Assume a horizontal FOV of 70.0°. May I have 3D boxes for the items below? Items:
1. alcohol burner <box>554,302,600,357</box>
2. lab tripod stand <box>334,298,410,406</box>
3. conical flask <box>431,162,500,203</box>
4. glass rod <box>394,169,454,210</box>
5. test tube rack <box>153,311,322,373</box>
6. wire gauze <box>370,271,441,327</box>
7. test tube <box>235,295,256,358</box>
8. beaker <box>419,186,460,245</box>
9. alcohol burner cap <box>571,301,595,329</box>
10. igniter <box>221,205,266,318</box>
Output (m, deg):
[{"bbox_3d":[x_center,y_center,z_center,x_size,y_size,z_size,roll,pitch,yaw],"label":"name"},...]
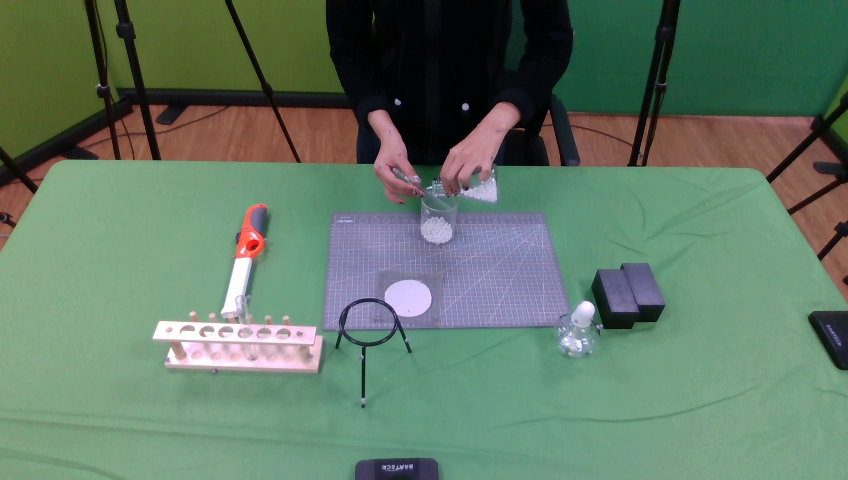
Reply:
[{"bbox_3d":[0.260,0.143,1.018,0.078,0.119,0.077,3,45,-3],"label":"alcohol burner"},{"bbox_3d":[-0.085,0.164,0.957,0.148,0.132,0.147,3,44,-2],"label":"lab tripod stand"},{"bbox_3d":[0.076,-0.101,1.113,0.122,0.076,0.075,-3,45,11],"label":"conical flask"},{"bbox_3d":[0.004,-0.090,1.118,0.008,0.201,0.008,-13,66,30],"label":"glass rod"},{"bbox_3d":[-0.293,0.160,0.978,0.242,0.085,0.066,3,46,-2],"label":"test tube rack"},{"bbox_3d":[-0.032,0.103,1.104,0.125,0.011,0.121,4,46,3],"label":"wire gauze"},{"bbox_3d":[-0.274,0.136,0.933,0.017,0.151,0.017,4,46,-4],"label":"test tube"},{"bbox_3d":[0.025,-0.047,1.190,0.074,0.101,0.083,-29,54,-29],"label":"beaker"},{"bbox_3d":[0.262,0.120,0.991,0.034,0.048,0.033,2,52,-2],"label":"alcohol burner cap"},{"bbox_3d":[-0.337,0.030,1.140,0.057,0.025,0.274,-6,46,3],"label":"igniter"}]
